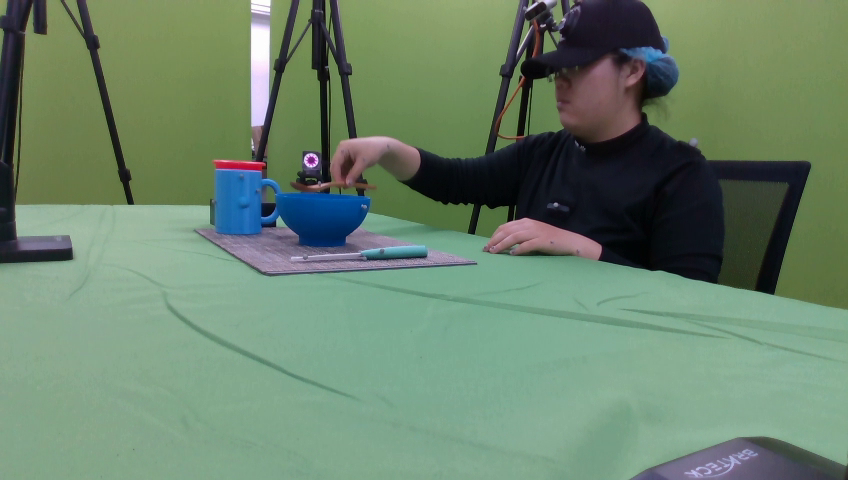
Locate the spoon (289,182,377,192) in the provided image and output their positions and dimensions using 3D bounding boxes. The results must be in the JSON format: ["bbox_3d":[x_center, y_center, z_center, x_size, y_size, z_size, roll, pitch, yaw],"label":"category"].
[{"bbox_3d":[-0.161,-0.099,1.116,0.195,0.021,0.041,-8,11,-43],"label":"spoon"}]

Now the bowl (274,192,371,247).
[{"bbox_3d":[-0.161,-0.033,0.958,0.151,0.077,0.151,3,8,0],"label":"bowl"}]

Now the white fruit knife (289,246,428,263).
[{"bbox_3d":[-0.082,0.022,0.822,0.208,0.016,0.027,-3,-20,-30],"label":"white fruit knife"}]

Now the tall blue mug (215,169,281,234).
[{"bbox_3d":[-0.313,-0.069,1.061,0.077,0.108,0.108,6,8,31],"label":"tall blue mug"}]
